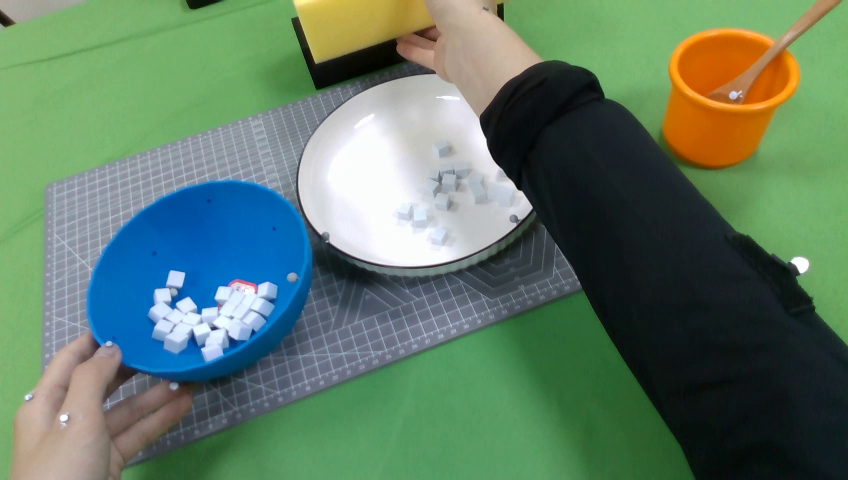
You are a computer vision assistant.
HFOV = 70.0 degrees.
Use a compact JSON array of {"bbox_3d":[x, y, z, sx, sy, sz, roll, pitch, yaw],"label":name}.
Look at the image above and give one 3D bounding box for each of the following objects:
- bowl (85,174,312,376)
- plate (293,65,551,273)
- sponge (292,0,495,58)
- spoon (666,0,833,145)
[{"bbox_3d":[-0.146,0.035,0.433,0.151,0.077,0.150,-4,56,6],"label":"bowl"},{"bbox_3d":[-0.002,-0.060,0.498,0.209,0.038,0.207,-4,57,6],"label":"plate"},{"bbox_3d":[-0.027,-0.257,0.562,0.207,0.061,0.117,-20,56,-6],"label":"sponge"},{"bbox_3d":[0.263,-0.146,0.454,0.022,0.194,0.041,4,47,-45],"label":"spoon"}]
